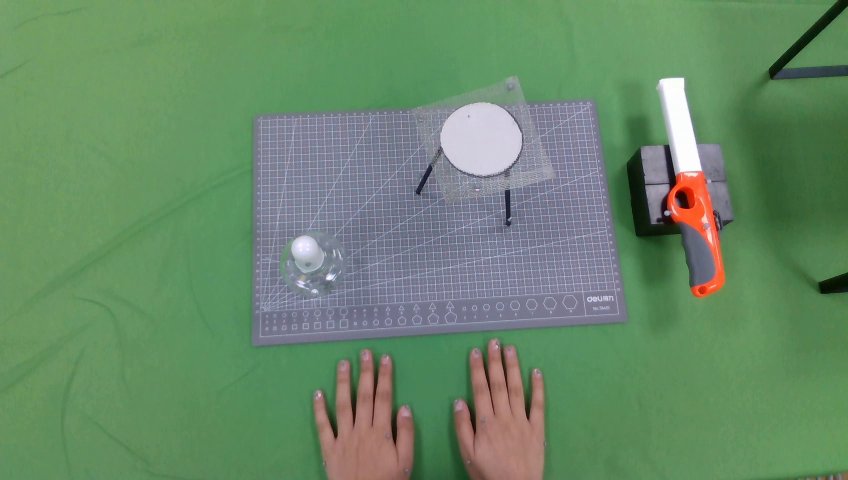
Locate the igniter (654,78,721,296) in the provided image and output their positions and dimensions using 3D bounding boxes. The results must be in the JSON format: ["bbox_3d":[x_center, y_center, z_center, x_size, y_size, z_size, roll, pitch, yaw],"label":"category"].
[{"bbox_3d":[0.312,-0.069,0.721,0.057,0.025,0.274,-3,73,0],"label":"igniter"}]

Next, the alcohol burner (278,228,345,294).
[{"bbox_3d":[-0.129,0.020,0.683,0.078,0.119,0.077,1,76,-3],"label":"alcohol burner"}]

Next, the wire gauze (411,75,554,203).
[{"bbox_3d":[0.061,-0.107,0.643,0.125,0.011,0.121,-16,76,-6],"label":"wire gauze"}]

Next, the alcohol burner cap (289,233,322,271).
[{"bbox_3d":[-0.129,0.011,0.648,0.034,0.048,0.033,0,71,0],"label":"alcohol burner cap"}]

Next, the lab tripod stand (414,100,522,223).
[{"bbox_3d":[0.059,-0.096,0.710,0.148,0.132,0.147,0,73,0],"label":"lab tripod stand"}]
